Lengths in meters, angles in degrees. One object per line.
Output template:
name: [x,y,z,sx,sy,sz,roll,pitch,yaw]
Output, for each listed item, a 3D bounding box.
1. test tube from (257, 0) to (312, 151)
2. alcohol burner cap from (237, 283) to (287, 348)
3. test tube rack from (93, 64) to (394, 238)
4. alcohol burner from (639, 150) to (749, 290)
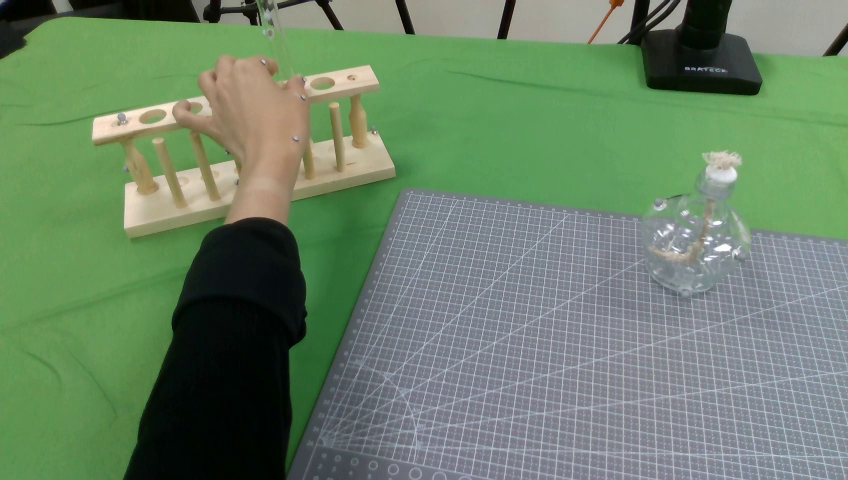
test tube: [-0.122,-0.146,0.534,0.017,0.151,0.017,-5,37,4]
alcohol burner cap: [-0.121,0.053,0.443,0.034,0.048,0.033,-1,44,2]
test tube rack: [-0.154,-0.083,0.548,0.243,0.086,0.066,-15,46,-12]
alcohol burner: [0.202,-0.019,0.444,0.078,0.120,0.077,0,47,1]
